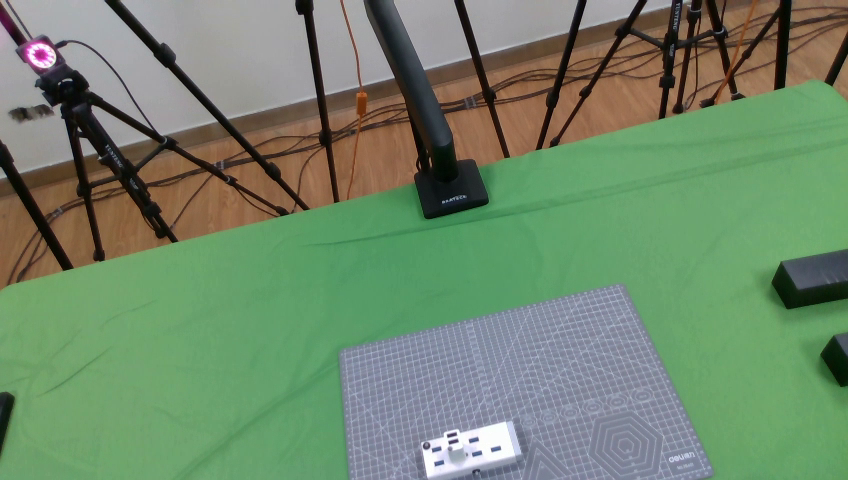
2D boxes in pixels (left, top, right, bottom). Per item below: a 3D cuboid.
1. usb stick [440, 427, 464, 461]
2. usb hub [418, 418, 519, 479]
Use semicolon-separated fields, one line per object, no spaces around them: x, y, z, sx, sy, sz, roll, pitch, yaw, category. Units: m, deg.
0.037;0.261;0.767;0.021;0.060;0.027;-17;48;-2;usb stick
0.058;0.272;0.792;0.125;0.025;0.049;-14;50;0;usb hub
